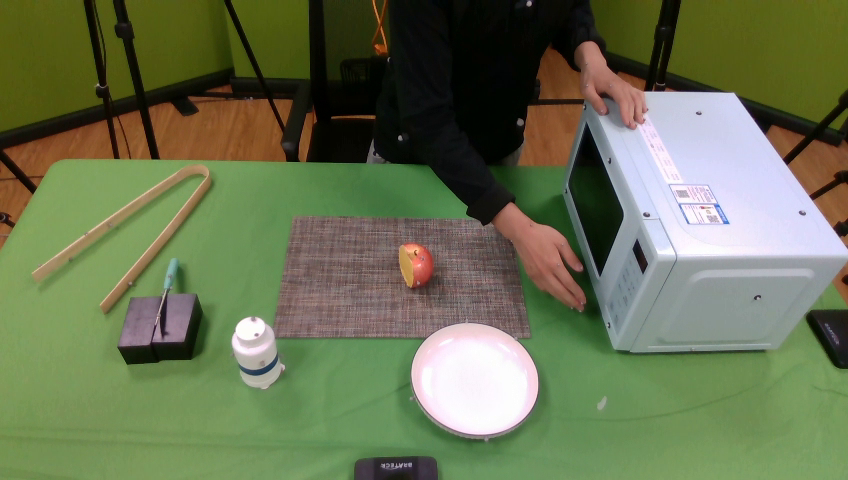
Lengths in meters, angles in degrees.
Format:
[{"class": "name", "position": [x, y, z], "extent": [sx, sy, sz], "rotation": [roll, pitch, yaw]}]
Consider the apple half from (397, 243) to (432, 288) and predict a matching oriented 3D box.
[{"class": "apple half", "position": [-0.013, 0.047, 1.115], "extent": [0.053, 0.075, 0.080], "rotation": [-10, 43, -21]}]

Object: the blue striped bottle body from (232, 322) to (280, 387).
[{"class": "blue striped bottle body", "position": [-0.262, 0.171, 0.944], "extent": [0.063, 0.121, 0.062], "rotation": [2, 46, -2]}]

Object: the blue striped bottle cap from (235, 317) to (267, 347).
[{"class": "blue striped bottle cap", "position": [-0.259, 0.137, 0.907], "extent": [0.044, 0.021, 0.044], "rotation": [2, 43, -2]}]

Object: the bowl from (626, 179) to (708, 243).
[{"class": "bowl", "position": [0.455, -0.047, 1.168], "extent": [0.151, 0.077, 0.150], "rotation": [7, 35, -5]}]

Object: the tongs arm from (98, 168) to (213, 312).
[{"class": "tongs arm", "position": [-0.503, -0.012, 1.167], "extent": [0.028, 0.028, 0.385], "rotation": [11, 45, 11]}]

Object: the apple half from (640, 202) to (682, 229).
[{"class": "apple half", "position": [0.455, -0.054, 1.161], "extent": [0.081, 0.033, 0.081], "rotation": [-4, 34, 3]}]

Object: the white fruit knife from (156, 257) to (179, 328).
[{"class": "white fruit knife", "position": [-0.440, 0.085, 1.037], "extent": [0.016, 0.027, 0.206], "rotation": [10, 26, -19]}]

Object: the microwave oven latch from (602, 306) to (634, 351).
[{"class": "microwave oven latch", "position": [0.332, 0.153, 1.044], "extent": [0.030, 0.029, 0.078], "rotation": [-1, 45, -4]}]

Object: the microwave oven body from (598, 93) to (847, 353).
[{"class": "microwave oven body", "position": [0.476, -0.042, 1.110], "extent": [0.326, 0.261, 0.438], "rotation": [-1, 45, -4]}]

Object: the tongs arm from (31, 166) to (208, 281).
[{"class": "tongs arm", "position": [-0.578, -0.040, 1.185], "extent": [0.050, 0.026, 0.384], "rotation": [23, 47, 18]}]

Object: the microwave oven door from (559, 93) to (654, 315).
[{"class": "microwave oven door", "position": [0.327, -0.074, 1.123], "extent": [0.039, 0.245, 0.353], "rotation": [-1, 46, -5]}]

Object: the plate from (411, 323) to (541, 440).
[{"class": "plate", "position": [0.082, 0.228, 0.976], "extent": [0.208, 0.039, 0.206], "rotation": [2, 45, -2]}]
